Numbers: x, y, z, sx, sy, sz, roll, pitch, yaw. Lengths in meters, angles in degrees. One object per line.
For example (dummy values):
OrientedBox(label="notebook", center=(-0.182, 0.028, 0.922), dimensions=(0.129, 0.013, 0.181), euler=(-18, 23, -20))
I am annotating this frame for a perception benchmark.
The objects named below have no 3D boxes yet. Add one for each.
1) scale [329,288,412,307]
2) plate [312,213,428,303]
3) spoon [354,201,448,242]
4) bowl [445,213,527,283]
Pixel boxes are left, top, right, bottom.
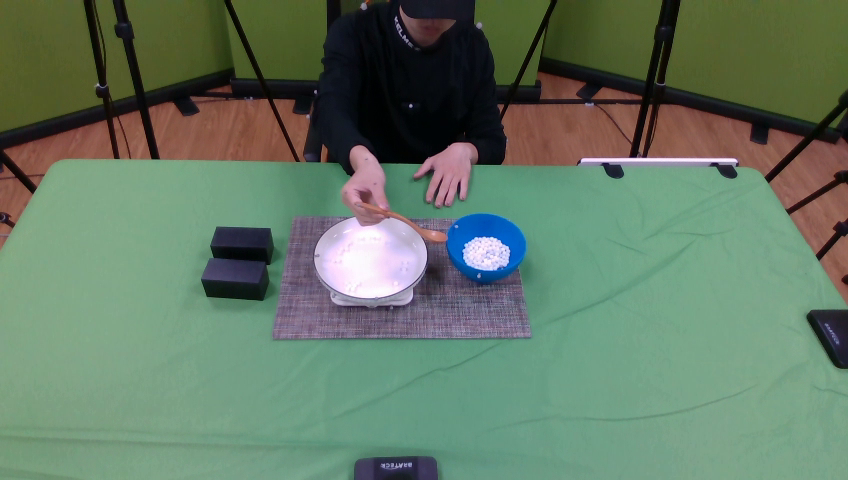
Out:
OrientedBox(label="scale", center=(-0.098, 0.042, 1.139), dimensions=(0.149, 0.032, 0.199), euler=(0, 46, -4))
OrientedBox(label="plate", center=(-0.097, 0.036, 1.100), dimensions=(0.209, 0.038, 0.208), euler=(2, 46, -2))
OrientedBox(label="spoon", center=(-0.037, -0.033, 1.041), dimensions=(0.195, 0.021, 0.041), euler=(25, 18, -33))
OrientedBox(label="bowl", center=(0.111, 0.027, 1.137), dimensions=(0.151, 0.077, 0.150), euler=(2, 46, -2))
